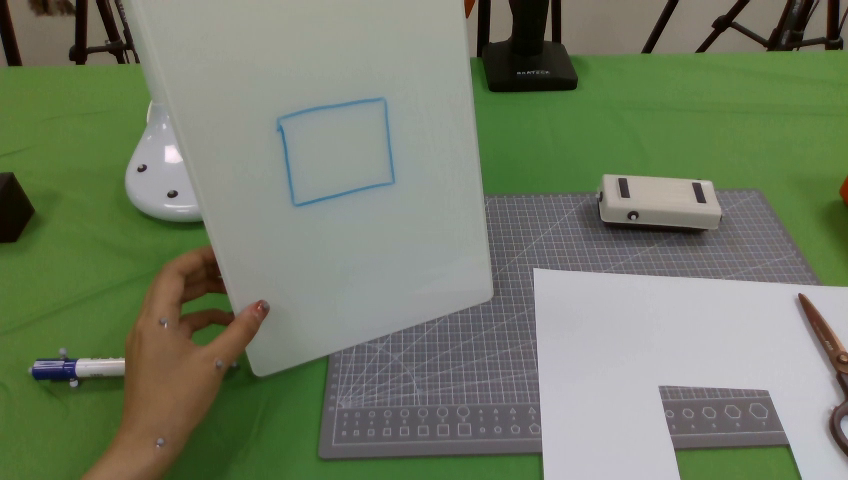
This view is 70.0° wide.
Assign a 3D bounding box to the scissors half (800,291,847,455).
[{"bbox_3d":[0.330,0.105,0.487,0.040,0.013,0.174,0,42,12],"label":"scissors half"}]

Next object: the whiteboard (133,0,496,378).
[{"bbox_3d":[-0.079,-0.079,0.509,0.217,0.308,0.142,-16,27,-15],"label":"whiteboard"}]

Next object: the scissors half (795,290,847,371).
[{"bbox_3d":[0.351,0.103,0.485,0.040,0.013,0.173,-9,42,-6],"label":"scissors half"}]

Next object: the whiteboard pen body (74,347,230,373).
[{"bbox_3d":[-0.230,0.097,0.489,0.141,0.017,0.017,-2,44,-7],"label":"whiteboard pen body"}]

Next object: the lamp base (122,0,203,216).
[{"bbox_3d":[-0.254,-0.143,0.623,0.177,0.182,0.160,29,51,30],"label":"lamp base"}]

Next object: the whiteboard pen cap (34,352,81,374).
[{"bbox_3d":[-0.290,0.099,0.483,0.033,0.018,0.018,0,44,-8],"label":"whiteboard pen cap"}]

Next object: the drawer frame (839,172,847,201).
[{"bbox_3d":[0.539,-0.006,0.551,0.202,0.083,0.211,-1,44,1],"label":"drawer frame"}]

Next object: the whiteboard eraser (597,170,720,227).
[{"bbox_3d":[0.234,-0.040,0.613,0.112,0.042,0.055,4,43,4],"label":"whiteboard eraser"}]
